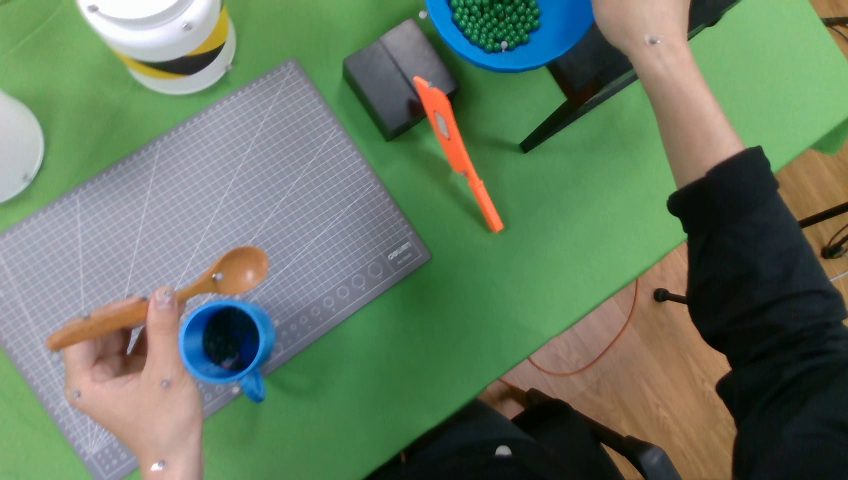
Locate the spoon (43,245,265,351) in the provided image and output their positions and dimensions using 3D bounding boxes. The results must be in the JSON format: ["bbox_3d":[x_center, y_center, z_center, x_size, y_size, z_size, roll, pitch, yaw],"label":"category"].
[{"bbox_3d":[-0.185,0.040,0.448,0.021,0.194,0.042,12,107,20],"label":"spoon"}]

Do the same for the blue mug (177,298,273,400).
[{"bbox_3d":[-0.203,0.120,0.654,0.082,0.106,0.116,-27,89,-10],"label":"blue mug"}]

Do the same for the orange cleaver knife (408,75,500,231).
[{"bbox_3d":[0.037,-0.100,0.724,0.012,0.076,0.213,-36,122,-11],"label":"orange cleaver knife"}]

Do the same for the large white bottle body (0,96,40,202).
[{"bbox_3d":[-0.487,-0.109,0.593,0.131,0.184,0.130,1,84,-8],"label":"large white bottle body"}]

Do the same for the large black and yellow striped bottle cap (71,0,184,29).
[{"bbox_3d":[-0.274,-0.252,0.554,0.115,0.019,0.114,1,85,-10],"label":"large black and yellow striped bottle cap"}]

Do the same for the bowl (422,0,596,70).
[{"bbox_3d":[0.071,-0.216,0.536,0.151,0.077,0.151,0,88,1],"label":"bowl"}]

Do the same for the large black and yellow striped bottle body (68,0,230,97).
[{"bbox_3d":[-0.285,-0.241,0.637,0.131,0.184,0.130,1,84,-8],"label":"large black and yellow striped bottle body"}]
